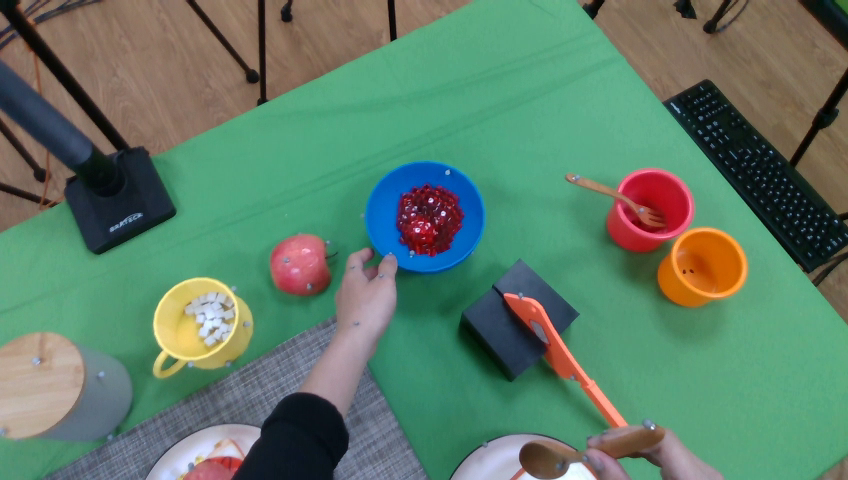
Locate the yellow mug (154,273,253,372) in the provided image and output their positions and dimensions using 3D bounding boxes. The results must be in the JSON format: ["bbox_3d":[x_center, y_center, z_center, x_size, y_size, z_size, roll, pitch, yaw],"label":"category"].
[{"bbox_3d":[-0.277,0.108,0.740,0.099,0.064,0.130,36,75,11],"label":"yellow mug"}]

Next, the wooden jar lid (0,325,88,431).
[{"bbox_3d":[-0.401,0.142,0.626,0.108,0.021,0.107,1,67,-1],"label":"wooden jar lid"}]

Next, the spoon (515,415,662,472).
[{"bbox_3d":[0.122,0.161,0.473,0.041,0.194,0.021,46,62,5],"label":"spoon"}]

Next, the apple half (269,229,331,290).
[{"bbox_3d":[-0.162,0.021,0.779,0.075,0.054,0.080,-8,71,-1],"label":"apple half"}]

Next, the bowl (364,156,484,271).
[{"bbox_3d":[0.000,-0.024,0.783,0.151,0.077,0.150,0,71,0],"label":"bowl"}]

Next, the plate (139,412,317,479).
[{"bbox_3d":[-0.219,0.302,0.681,0.208,0.039,0.206,0,71,-1],"label":"plate"}]

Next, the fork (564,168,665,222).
[{"bbox_3d":[0.243,-0.056,0.759,0.209,0.018,0.028,18,63,-39],"label":"fork"}]

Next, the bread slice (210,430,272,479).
[{"bbox_3d":[-0.215,0.298,0.684,0.133,0.018,0.107,40,76,13],"label":"bread slice"}]

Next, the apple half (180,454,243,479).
[{"bbox_3d":[-0.225,0.265,0.626,0.081,0.033,0.081,-2,71,6],"label":"apple half"}]

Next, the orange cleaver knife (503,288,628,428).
[{"bbox_3d":[0.167,0.140,0.723,0.012,0.077,0.212,-40,97,-20],"label":"orange cleaver knife"}]

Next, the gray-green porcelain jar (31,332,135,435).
[{"bbox_3d":[-0.400,0.164,0.686,0.106,0.127,0.105,0,69,0],"label":"gray-green porcelain jar"}]

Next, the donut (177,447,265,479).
[{"bbox_3d":[-0.223,0.277,0.661,0.099,0.048,0.098,0,71,0],"label":"donut"}]

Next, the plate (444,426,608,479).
[{"bbox_3d":[0.115,0.318,0.683,0.209,0.038,0.207,0,70,0],"label":"plate"}]
